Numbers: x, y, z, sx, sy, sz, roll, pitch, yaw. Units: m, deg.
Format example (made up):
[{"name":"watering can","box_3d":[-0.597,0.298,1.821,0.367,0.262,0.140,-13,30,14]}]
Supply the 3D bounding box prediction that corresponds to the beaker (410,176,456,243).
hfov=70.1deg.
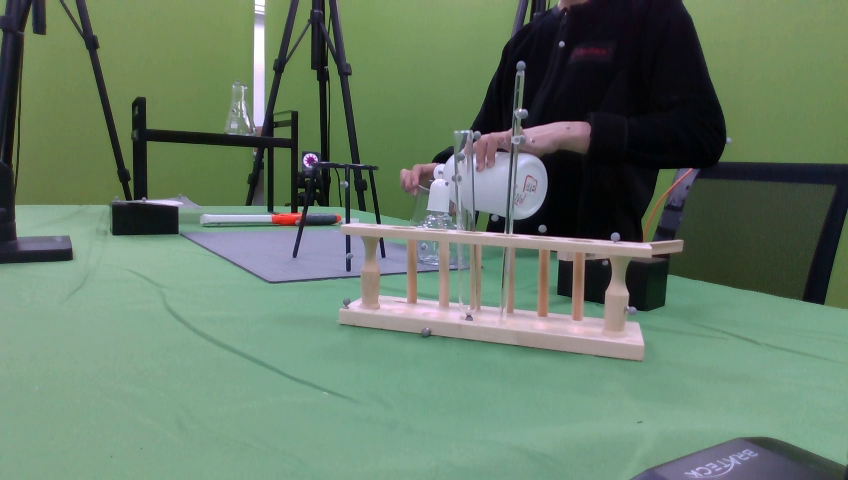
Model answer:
[{"name":"beaker","box_3d":[0.016,-0.050,1.037,0.074,0.100,0.084,7,21,-11]}]

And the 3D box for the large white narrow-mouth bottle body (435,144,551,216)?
[{"name":"large white narrow-mouth bottle body","box_3d":[0.093,-0.099,0.939,0.102,0.101,0.193,-5,14,-43]}]

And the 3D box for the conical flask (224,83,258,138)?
[{"name":"conical flask","box_3d":[-0.422,-0.299,1.395,0.075,0.122,0.075,2,7,0]}]

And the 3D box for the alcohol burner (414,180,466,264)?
[{"name":"alcohol burner","box_3d":[0.021,-0.028,0.826,0.078,0.119,0.078,0,6,0]}]

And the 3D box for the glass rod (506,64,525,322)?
[{"name":"glass rod","box_3d":[0.069,-0.030,0.458,0.008,0.199,0.008,0,15,0]}]

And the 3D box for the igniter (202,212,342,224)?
[{"name":"igniter","box_3d":[-0.298,-0.044,1.216,0.278,0.025,0.057,-2,-2,-32]}]

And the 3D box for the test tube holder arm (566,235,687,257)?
[{"name":"test tube holder arm","box_3d":[0.215,0.006,0.630,0.179,0.015,0.013,-3,9,-31]}]

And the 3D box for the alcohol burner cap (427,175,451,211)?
[{"name":"alcohol burner cap","box_3d":[0.023,-0.064,0.822,0.034,0.048,0.034,7,5,0]}]

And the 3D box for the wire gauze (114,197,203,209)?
[{"name":"wire gauze","box_3d":[-0.447,-0.062,1.015,0.126,0.011,0.121,-2,8,-31]}]

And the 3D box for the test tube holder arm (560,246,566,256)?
[{"name":"test tube holder arm","box_3d":[0.173,0.007,0.612,0.088,0.015,0.010,-3,9,-30]}]

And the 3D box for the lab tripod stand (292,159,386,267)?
[{"name":"lab tripod stand","box_3d":[-0.105,-0.039,0.798,0.148,0.131,0.148,2,5,0]}]

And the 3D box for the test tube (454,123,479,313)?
[{"name":"test tube","box_3d":[0.034,-0.016,0.477,0.017,0.150,0.017,-2,9,1]}]

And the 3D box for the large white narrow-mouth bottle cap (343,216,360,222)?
[{"name":"large white narrow-mouth bottle cap","box_3d":[-0.148,-0.036,1.235,0.038,0.024,0.037,2,8,0]}]

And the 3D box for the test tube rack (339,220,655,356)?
[{"name":"test tube rack","box_3d":[0.056,0.032,0.495,0.242,0.085,0.067,4,7,15]}]
